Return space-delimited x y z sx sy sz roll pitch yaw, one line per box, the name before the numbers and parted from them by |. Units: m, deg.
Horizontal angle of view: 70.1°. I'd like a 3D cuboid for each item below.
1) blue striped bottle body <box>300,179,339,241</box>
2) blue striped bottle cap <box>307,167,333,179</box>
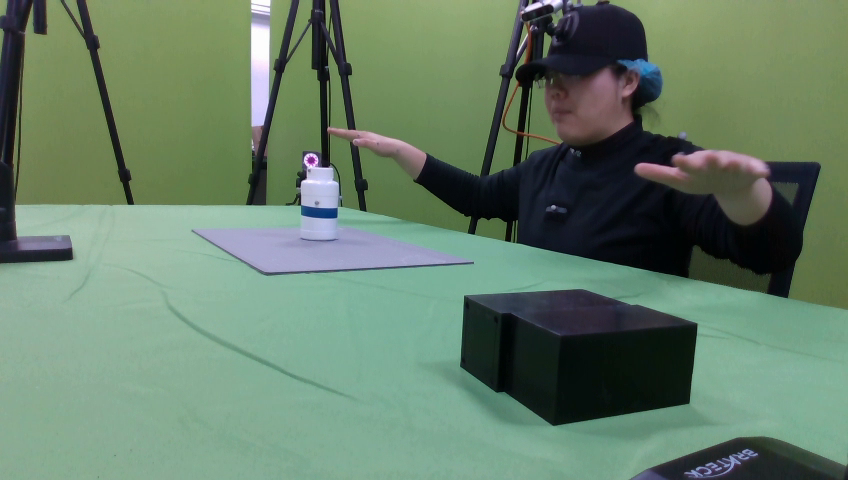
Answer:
blue striped bottle body | -0.176 -0.062 1.018 0.063 0.120 0.063 3 7 0
blue striped bottle cap | -0.174 -0.112 1.011 0.044 0.020 0.044 2 6 0
